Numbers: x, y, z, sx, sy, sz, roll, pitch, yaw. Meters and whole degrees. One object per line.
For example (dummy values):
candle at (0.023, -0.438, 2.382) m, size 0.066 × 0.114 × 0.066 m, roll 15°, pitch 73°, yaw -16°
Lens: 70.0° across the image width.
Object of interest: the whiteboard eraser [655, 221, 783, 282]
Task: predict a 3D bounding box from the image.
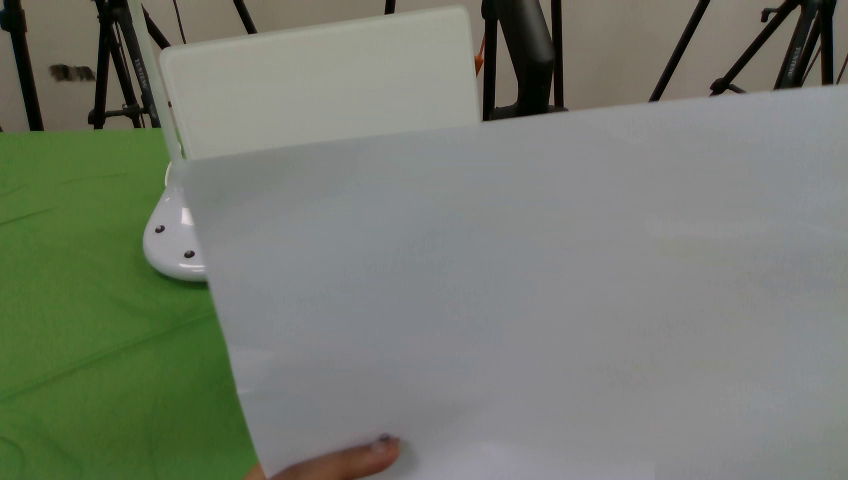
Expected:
whiteboard eraser at (0.305, 0.014, 0.629) m, size 0.113 × 0.042 × 0.055 m, roll -7°, pitch 40°, yaw -8°

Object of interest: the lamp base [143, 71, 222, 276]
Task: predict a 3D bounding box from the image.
lamp base at (-0.243, -0.079, 0.644) m, size 0.177 × 0.182 × 0.160 m, roll 26°, pitch 46°, yaw 32°

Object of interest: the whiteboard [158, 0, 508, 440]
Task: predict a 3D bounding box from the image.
whiteboard at (-0.068, -0.027, 0.523) m, size 0.218 × 0.307 × 0.142 m, roll -15°, pitch 22°, yaw -16°

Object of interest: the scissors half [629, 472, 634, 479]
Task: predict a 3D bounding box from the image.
scissors half at (0.105, 0.187, 0.254) m, size 0.013 × 0.040 × 0.174 m, roll -10°, pitch 80°, yaw -2°
